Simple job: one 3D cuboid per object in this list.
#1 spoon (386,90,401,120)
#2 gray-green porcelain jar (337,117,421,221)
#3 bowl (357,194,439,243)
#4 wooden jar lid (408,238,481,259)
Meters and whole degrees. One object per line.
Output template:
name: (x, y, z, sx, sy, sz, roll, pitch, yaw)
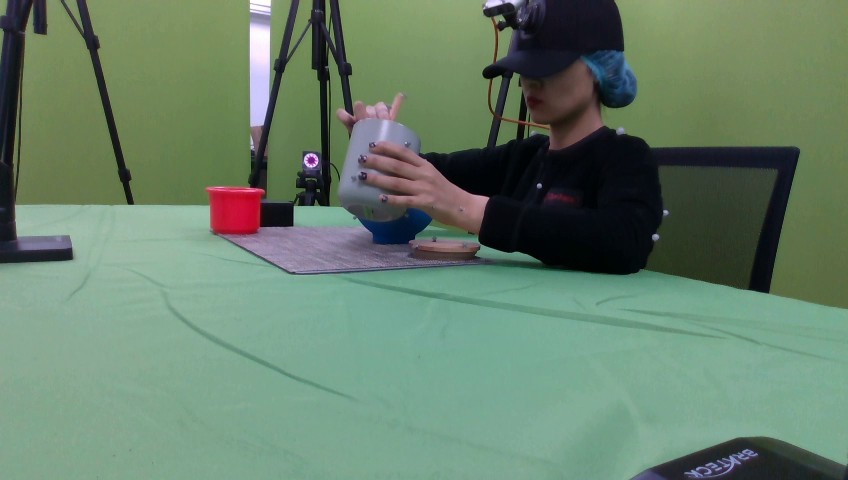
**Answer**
spoon: (-0.066, -0.155, 0.902, 0.041, 0.193, 0.022, -17, -49, 42)
gray-green porcelain jar: (-0.067, -0.099, 0.886, 0.106, 0.126, 0.106, 10, -16, 3)
bowl: (-0.050, -0.038, 1.033, 0.151, 0.077, 0.151, 3, 7, 0)
wooden jar lid: (0.031, 0.012, 0.895, 0.108, 0.020, 0.108, 2, 8, 0)
